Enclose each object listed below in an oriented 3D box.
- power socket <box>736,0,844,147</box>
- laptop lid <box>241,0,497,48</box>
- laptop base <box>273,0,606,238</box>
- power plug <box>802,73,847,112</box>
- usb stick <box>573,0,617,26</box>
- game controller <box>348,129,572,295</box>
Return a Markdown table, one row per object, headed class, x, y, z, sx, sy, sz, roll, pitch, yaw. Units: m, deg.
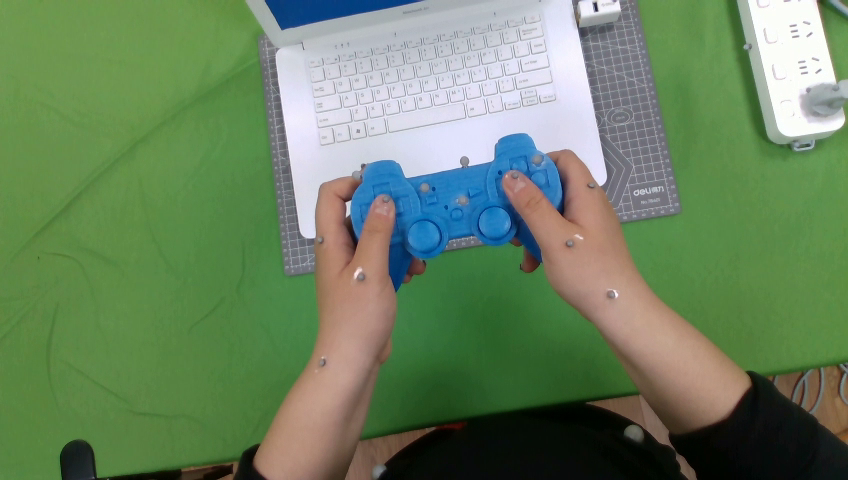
| class | x | y | z | sx | sy | sz | roll | pitch | yaw |
| --- | --- | --- | --- | --- | --- | --- | --- | --- | --- |
| power socket | 0.394 | -0.215 | 0.661 | 0.072 | 0.033 | 0.226 | -8 | 81 | 6 |
| laptop lid | -0.026 | -0.295 | 0.603 | 0.356 | 0.243 | 0.013 | -11 | 72 | 6 |
| laptop base | 0.011 | -0.146 | 0.699 | 0.354 | 0.023 | 0.235 | -11 | 84 | 4 |
| power plug | 0.431 | -0.150 | 0.628 | 0.072 | 0.053 | 0.035 | 3 | 82 | 3 |
| usb stick | 0.185 | -0.260 | 0.684 | 0.059 | 0.027 | 0.021 | -10 | 81 | 9 |
| game controller | 0.023 | -0.019 | 0.421 | 0.155 | 0.051 | 0.097 | -11 | 92 | 4 |
